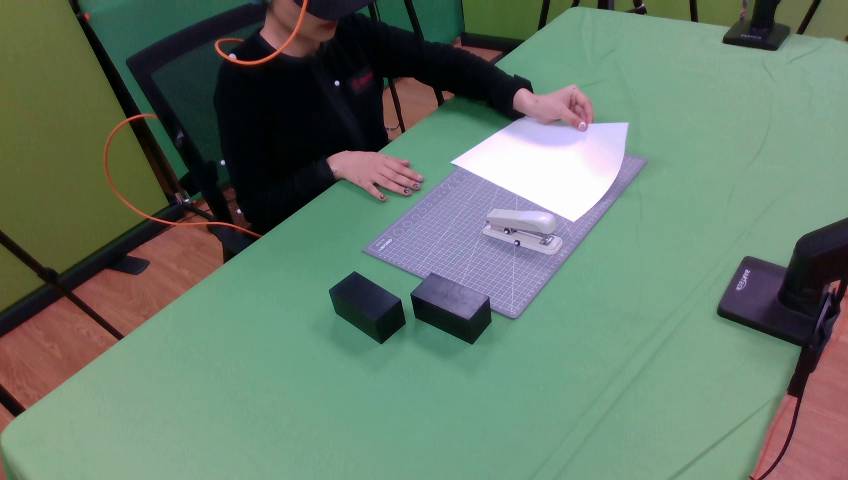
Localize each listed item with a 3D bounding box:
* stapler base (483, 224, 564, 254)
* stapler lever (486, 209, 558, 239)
[{"bbox_3d":[0.158,-0.012,0.962,0.129,0.024,0.041,17,45,31],"label":"stapler base"},{"bbox_3d":[0.153,-0.032,0.947,0.117,0.040,0.027,17,45,31],"label":"stapler lever"}]
